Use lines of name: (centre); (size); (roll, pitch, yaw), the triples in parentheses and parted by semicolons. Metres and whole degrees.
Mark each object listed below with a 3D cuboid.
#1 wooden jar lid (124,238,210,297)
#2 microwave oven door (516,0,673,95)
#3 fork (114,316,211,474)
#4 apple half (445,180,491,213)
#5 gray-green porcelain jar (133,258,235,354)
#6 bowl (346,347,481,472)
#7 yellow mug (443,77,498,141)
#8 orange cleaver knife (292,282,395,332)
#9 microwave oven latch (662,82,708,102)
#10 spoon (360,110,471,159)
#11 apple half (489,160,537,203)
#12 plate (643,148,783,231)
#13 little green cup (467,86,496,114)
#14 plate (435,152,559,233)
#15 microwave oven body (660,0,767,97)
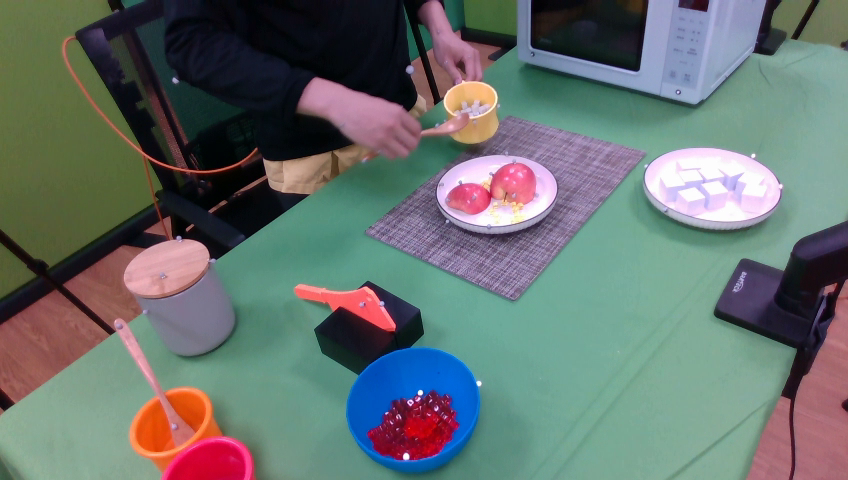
wooden jar lid: (-0.335, 0.039, 0.794); (0.108, 0.021, 0.108); (-2, 40, 2)
microwave oven door: (0.344, -0.458, 1.256); (0.353, 0.245, 0.039); (26, 51, 33)
fork: (-0.309, 0.179, 0.708); (0.028, 0.018, 0.207); (-30, 89, -23)
apple half: (0.076, -0.083, 1.029); (0.081, 0.033, 0.081); (-1, 42, 2)
gray-green porcelain jar: (-0.327, 0.086, 0.836); (0.106, 0.127, 0.105); (-4, 41, 4)
bowl: (-0.008, 0.205, 0.691); (0.151, 0.077, 0.150); (-4, 40, 4)
yellow mug: (0.084, -0.255, 1.137); (0.100, 0.064, 0.130); (-14, 54, -2)
orange cleaver knife: (-0.116, 0.091, 0.835); (0.209, 0.077, 0.012); (2, 32, 48)
microwave oven latch: (0.517, -0.298, 1.202); (0.078, 0.029, 0.030); (27, 52, 34)
spoon: (-0.013, -0.167, 0.957); (0.194, 0.022, 0.041); (-21, 40, -14)
apple half: (0.154, -0.106, 1.030); (0.080, 0.053, 0.075); (22, 46, 31)
plate: (0.464, -0.080, 0.986); (0.207, 0.039, 0.206); (-4, 41, 4)
little green cup: (0.124, -0.297, 1.285); (0.061, 0.039, 0.061); (-6, 40, 5)
plate: (0.124, -0.078, 1.026); (0.209, 0.038, 0.208); (-4, 40, 4)
microwave oven body: (0.473, -0.516, 1.314); (0.438, 0.261, 0.327); (26, 51, 34)
